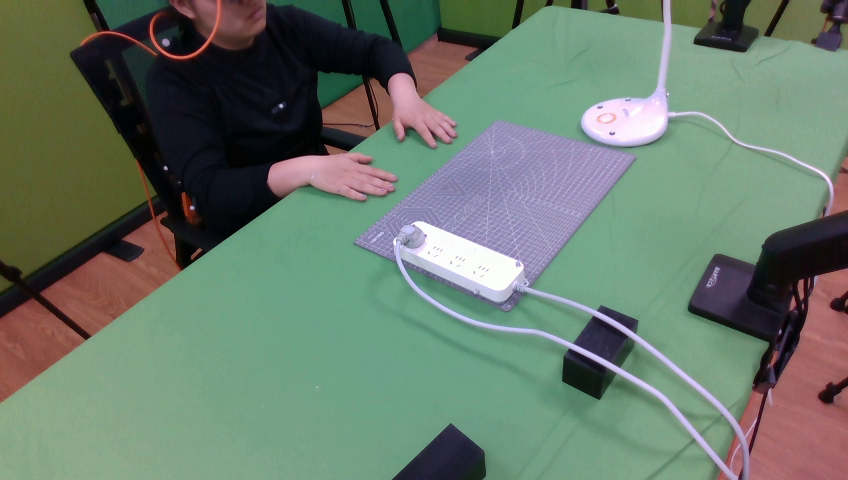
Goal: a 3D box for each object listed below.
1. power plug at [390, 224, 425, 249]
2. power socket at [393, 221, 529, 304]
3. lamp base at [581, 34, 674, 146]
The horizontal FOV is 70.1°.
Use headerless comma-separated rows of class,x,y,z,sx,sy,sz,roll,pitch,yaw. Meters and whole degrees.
power plug,-0.030,0.004,0.920,0.073,0.053,0.035,-34,47,-26
power socket,0.049,0.030,0.914,0.225,0.033,0.072,24,51,31
lamp base,0.392,-0.291,1.129,0.180,0.181,0.159,-11,41,-8
